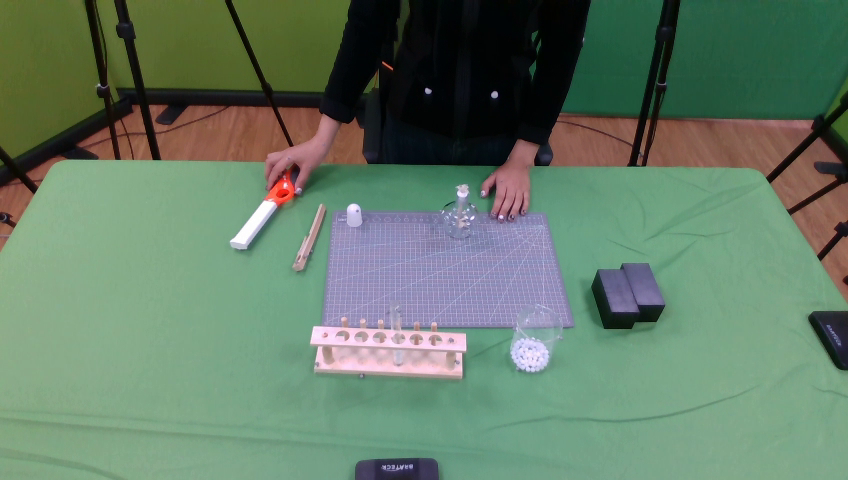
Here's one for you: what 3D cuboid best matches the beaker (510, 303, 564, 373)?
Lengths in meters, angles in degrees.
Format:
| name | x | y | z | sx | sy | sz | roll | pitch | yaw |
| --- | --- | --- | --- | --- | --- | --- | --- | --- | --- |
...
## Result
| name | x | y | z | sx | sy | sz | roll | pitch | yaw |
| --- | --- | --- | --- | --- | --- | --- | --- | --- | --- |
| beaker | 0.182 | 0.164 | 1.000 | 0.074 | 0.101 | 0.083 | 2 | 45 | -1 |

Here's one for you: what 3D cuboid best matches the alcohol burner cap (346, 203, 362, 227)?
| name | x | y | z | sx | sy | sz | roll | pitch | yaw |
| --- | --- | --- | --- | --- | --- | --- | --- | --- | --- |
| alcohol burner cap | -0.141 | -0.053 | 1.222 | 0.034 | 0.048 | 0.033 | 2 | 47 | -2 |

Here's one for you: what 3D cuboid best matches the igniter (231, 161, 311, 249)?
| name | x | y | z | sx | sy | sz | roll | pitch | yaw |
| --- | --- | --- | --- | --- | --- | --- | --- | --- | --- |
| igniter | -0.310 | -0.081 | 1.250 | 0.057 | 0.025 | 0.275 | 12 | 46 | 15 |

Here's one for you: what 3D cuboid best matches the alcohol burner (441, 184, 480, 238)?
| name | x | y | z | sx | sy | sz | roll | pitch | yaw |
| --- | --- | --- | --- | --- | --- | --- | --- | --- | --- |
| alcohol burner | 0.073 | -0.061 | 1.195 | 0.078 | 0.120 | 0.077 | 1 | 47 | -1 |

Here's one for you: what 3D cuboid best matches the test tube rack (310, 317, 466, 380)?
| name | x | y | z | sx | sy | sz | roll | pitch | yaw |
| --- | --- | --- | --- | --- | --- | --- | --- | --- | --- |
| test tube rack | -0.056 | 0.171 | 0.987 | 0.242 | 0.085 | 0.066 | 3 | 45 | -1 |

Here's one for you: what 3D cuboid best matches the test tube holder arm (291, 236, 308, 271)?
| name | x | y | z | sx | sy | sz | roll | pitch | yaw |
| --- | --- | --- | --- | --- | --- | --- | --- | --- | --- |
| test tube holder arm | -0.234 | 0.024 | 1.163 | 0.010 | 0.015 | 0.087 | -17 | 38 | 29 |

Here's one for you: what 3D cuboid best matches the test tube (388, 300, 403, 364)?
| name | x | y | z | sx | sy | sz | roll | pitch | yaw |
| --- | --- | --- | --- | --- | --- | --- | --- | --- | --- |
| test tube | -0.044 | 0.146 | 0.942 | 0.017 | 0.151 | 0.017 | -1 | 44 | 1 |

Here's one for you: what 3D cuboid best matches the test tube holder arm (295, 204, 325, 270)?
| name | x | y | z | sx | sy | sz | roll | pitch | yaw |
| --- | --- | --- | --- | --- | --- | --- | --- | --- | --- |
| test tube holder arm | -0.222 | -0.009 | 1.192 | 0.013 | 0.015 | 0.177 | -19 | 37 | 27 |
